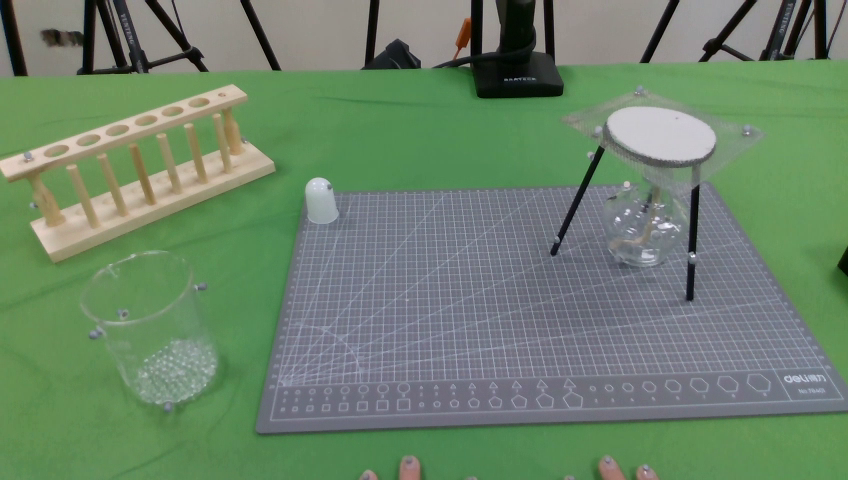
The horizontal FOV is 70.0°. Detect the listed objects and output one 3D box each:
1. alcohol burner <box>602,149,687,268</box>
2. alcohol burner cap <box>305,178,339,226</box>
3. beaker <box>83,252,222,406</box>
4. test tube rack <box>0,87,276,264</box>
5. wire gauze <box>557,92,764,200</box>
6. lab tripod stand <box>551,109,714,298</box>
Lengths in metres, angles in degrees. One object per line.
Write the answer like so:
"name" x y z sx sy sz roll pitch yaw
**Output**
"alcohol burner" 0.205 -0.033 0.552 0.078 0.120 0.077 0 42 0
"alcohol burner cap" -0.106 -0.041 0.622 0.034 0.048 0.033 0 41 0
"beaker" -0.199 0.068 0.453 0.083 0.101 0.074 27 47 30
"test tube rack" -0.285 -0.075 0.635 0.242 0.086 0.066 -29 47 -30
"wire gauze" 0.192 -0.087 0.497 0.121 0.011 0.124 -26 48 -28
"lab tripod stand" 0.197 -0.037 0.541 0.148 0.132 0.147 1 40 -1
